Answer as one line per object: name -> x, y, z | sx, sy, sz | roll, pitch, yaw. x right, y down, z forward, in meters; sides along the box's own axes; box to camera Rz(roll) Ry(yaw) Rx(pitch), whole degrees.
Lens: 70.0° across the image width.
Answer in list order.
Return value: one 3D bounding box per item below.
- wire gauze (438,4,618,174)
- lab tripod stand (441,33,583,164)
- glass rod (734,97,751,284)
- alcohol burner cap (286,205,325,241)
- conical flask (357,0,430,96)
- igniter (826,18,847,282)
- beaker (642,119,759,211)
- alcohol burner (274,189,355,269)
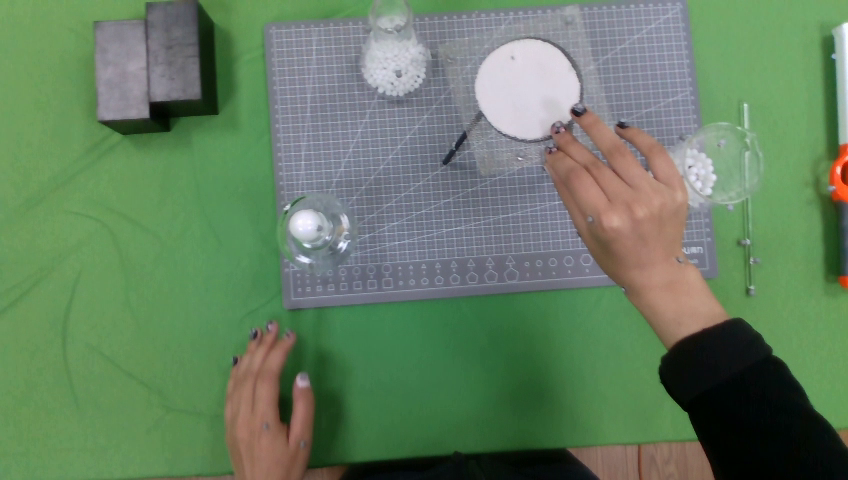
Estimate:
wire gauze -> 0.086, -0.125, 0.501 | 0.125, 0.011, 0.121 | -15, 85, -3
lab tripod stand -> 0.084, -0.122, 0.569 | 0.148, 0.131, 0.148 | 0, 88, -1
glass rod -> 0.336, -0.053, 0.638 | 0.008, 0.008, 0.199 | -1, 86, -2
alcohol burner cap -> -0.105, -0.016, 0.531 | 0.034, 0.048, 0.034 | 0, 90, -5
conical flask -> -0.031, -0.191, 0.576 | 0.075, 0.122, 0.075 | 0, 86, -1
igniter -> 0.446, -0.094, 0.633 | 0.057, 0.025, 0.276 | 2, 86, -12
beaker -> 0.264, -0.070, 0.588 | 0.084, 0.100, 0.074 | -41, 88, -4
alcohol burner -> -0.106, -0.012, 0.567 | 0.078, 0.119, 0.077 | 0, 85, 1
